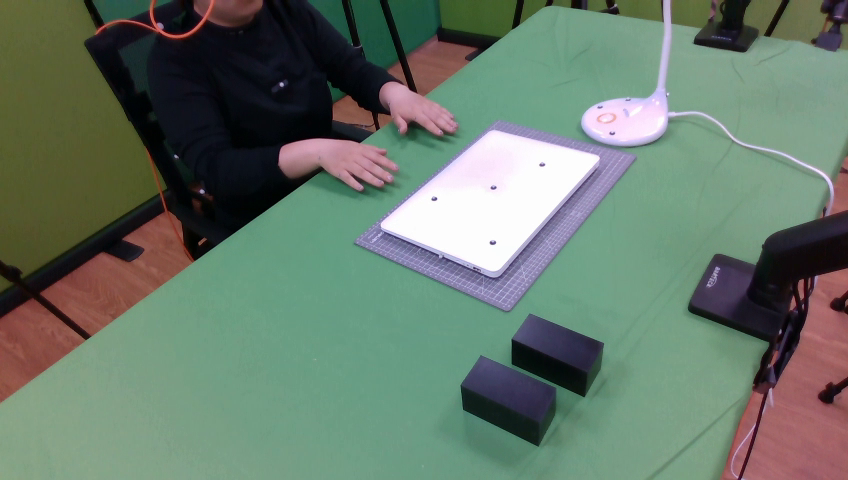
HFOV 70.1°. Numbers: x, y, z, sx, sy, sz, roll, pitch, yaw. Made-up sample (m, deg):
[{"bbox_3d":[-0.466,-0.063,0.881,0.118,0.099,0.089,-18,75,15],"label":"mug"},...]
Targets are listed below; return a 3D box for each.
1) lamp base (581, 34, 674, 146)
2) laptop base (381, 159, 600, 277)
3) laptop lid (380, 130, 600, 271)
[{"bbox_3d":[0.392,-0.291,1.129,0.180,0.181,0.159,-11,41,-8],"label":"lamp base"},{"bbox_3d":[0.122,-0.077,1.043,0.233,0.023,0.355,20,47,33],"label":"laptop base"},{"bbox_3d":[0.119,-0.087,1.036,0.239,0.013,0.358,23,48,33],"label":"laptop lid"}]
